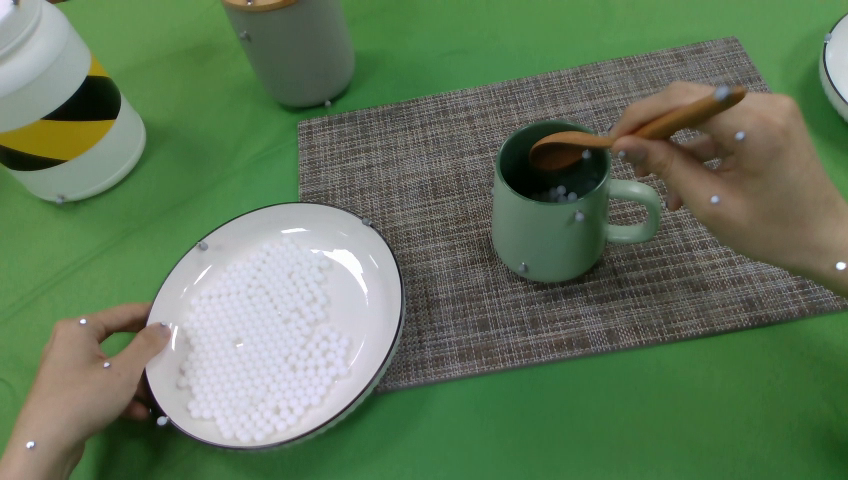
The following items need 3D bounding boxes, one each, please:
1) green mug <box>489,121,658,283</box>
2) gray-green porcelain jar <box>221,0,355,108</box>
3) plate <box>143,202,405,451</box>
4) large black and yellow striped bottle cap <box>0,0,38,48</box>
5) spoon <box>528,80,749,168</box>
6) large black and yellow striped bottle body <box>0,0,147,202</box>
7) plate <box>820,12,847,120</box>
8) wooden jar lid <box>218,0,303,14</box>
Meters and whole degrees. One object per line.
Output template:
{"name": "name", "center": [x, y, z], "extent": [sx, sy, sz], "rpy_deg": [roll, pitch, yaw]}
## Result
{"name": "green mug", "center": [0.112, -0.024, 0.460], "extent": [0.125, 0.106, 0.092], "rpy_deg": [10, 59, 13]}
{"name": "gray-green porcelain jar", "center": [-0.129, -0.205, 0.604], "extent": [0.106, 0.128, 0.105], "rpy_deg": [-4, 57, 6]}
{"name": "plate", "center": [-0.114, 0.063, 0.479], "extent": [0.209, 0.038, 0.207], "rpy_deg": [-5, 57, 8]}
{"name": "large black and yellow striped bottle cap", "center": [-0.374, -0.180, 0.489], "extent": [0.115, 0.019, 0.114], "rpy_deg": [-4, 56, 6]}
{"name": "spoon", "center": [0.119, -0.064, 0.367], "extent": [0.042, 0.193, 0.021], "rpy_deg": [11, 87, -17]}
{"name": "large black and yellow striped bottle body", "center": [-0.362, -0.137, 0.560], "extent": [0.130, 0.186, 0.129], "rpy_deg": [-4, 57, 6]}
{"name": "plate", "center": [0.454, -0.137, 0.524], "extent": [0.207, 0.039, 0.205], "rpy_deg": [-4, 57, 7]}
{"name": "wooden jar lid", "center": [-0.138, -0.239, 0.553], "extent": [0.108, 0.021, 0.107], "rpy_deg": [-3, 60, 6]}
